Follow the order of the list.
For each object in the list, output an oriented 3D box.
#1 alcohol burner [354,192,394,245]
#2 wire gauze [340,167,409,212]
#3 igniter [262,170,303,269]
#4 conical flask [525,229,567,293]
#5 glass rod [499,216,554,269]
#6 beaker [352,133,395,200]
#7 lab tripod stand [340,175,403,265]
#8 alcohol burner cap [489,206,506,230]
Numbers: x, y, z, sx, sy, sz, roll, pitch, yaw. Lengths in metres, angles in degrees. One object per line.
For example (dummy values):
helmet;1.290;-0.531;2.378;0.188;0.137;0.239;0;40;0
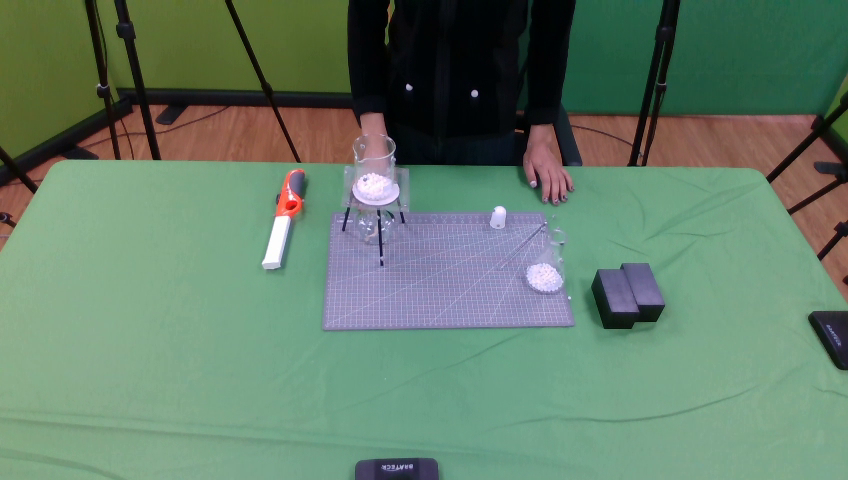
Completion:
alcohol burner;-0.096;-0.048;1.171;0.078;0.119;0.077;4;45;-4
wire gauze;-0.091;-0.095;1.111;0.125;0.011;0.120;1;43;-2
igniter;-0.283;-0.050;1.222;0.057;0.025;0.275;-5;45;6
conical flask;0.231;0.036;1.110;0.075;0.122;0.075;2;46;-2
glass rod;0.208;0.002;1.219;0.008;0.008;0.199;32;52;25
beaker;-0.091;-0.126;1.074;0.074;0.101;0.084;26;49;21
lab tripod stand;-0.093;-0.050;1.160;0.148;0.132;0.147;2;44;-2
alcohol burner cap;0.152;-0.047;1.241;0.034;0.048;0.033;2;45;-2
